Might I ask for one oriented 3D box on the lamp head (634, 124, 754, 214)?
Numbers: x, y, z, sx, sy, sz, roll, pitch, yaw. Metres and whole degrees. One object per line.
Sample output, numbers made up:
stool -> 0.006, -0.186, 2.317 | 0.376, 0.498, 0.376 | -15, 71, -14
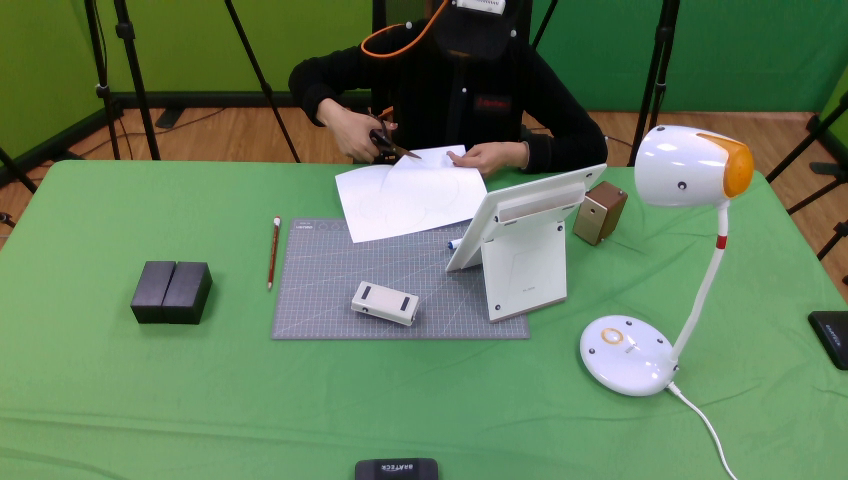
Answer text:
lamp head -> 0.351, -0.089, 0.775 | 0.112, 0.113, 0.122 | -30, 30, -28

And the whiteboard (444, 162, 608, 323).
whiteboard -> 0.186, 0.025, 1.029 | 0.217, 0.306, 0.143 | -14, 68, -17

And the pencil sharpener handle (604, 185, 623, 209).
pencil sharpener handle -> 0.390, -0.091, 1.235 | 0.030, 0.068, 0.036 | -34, 69, -31

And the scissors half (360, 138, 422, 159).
scissors half -> -0.074, -0.197, 1.339 | 0.174, 0.040, 0.013 | 15, 28, 34

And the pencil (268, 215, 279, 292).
pencil -> -0.290, 0.023, 1.164 | 0.012, 0.012, 0.192 | -2, 48, -6

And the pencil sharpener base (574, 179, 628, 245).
pencil sharpener base -> 0.355, -0.057, 1.217 | 0.076, 0.107, 0.061 | -33, 56, -31

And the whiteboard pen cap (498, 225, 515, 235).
whiteboard pen cap -> 0.166, -0.019, 1.222 | 0.033, 0.018, 0.018 | -14, 49, -19

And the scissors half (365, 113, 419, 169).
scissors half -> -0.069, -0.216, 1.326 | 0.174, 0.040, 0.013 | 48, 46, 12

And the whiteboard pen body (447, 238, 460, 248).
whiteboard pen body -> 0.112, -0.006, 1.204 | 0.141, 0.017, 0.017 | -14, 49, -18

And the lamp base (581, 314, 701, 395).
lamp base -> 0.361, 0.144, 0.972 | 0.178, 0.181, 0.160 | 34, 53, 23

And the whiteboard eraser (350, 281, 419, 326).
whiteboard eraser -> -0.069, 0.113, 1.065 | 0.112, 0.042, 0.055 | 14, 46, 9
